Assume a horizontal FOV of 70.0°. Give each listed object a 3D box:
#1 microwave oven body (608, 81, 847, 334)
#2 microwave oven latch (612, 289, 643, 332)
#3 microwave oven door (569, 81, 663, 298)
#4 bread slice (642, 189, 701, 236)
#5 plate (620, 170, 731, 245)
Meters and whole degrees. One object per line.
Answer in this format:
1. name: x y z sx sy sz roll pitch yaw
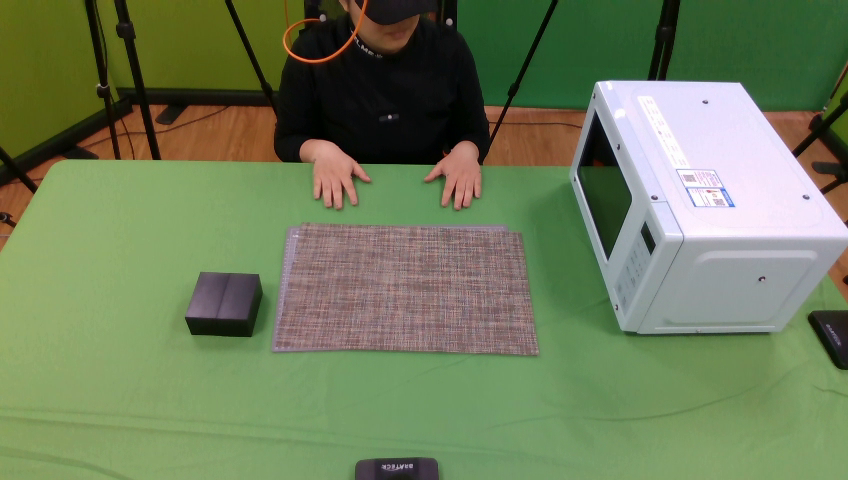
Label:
1. microwave oven body: 0.501 -0.070 1.132 0.326 0.261 0.438 -1 45 -4
2. microwave oven latch: 0.357 0.124 1.068 0.030 0.029 0.078 0 45 -3
3. microwave oven door: 0.353 -0.104 1.147 0.039 0.245 0.353 0 46 -4
4. bread slice: 0.494 -0.056 1.197 0.105 0.019 0.131 6 42 4
5. plate: 0.490 -0.060 1.194 0.209 0.038 0.208 3 45 -2
